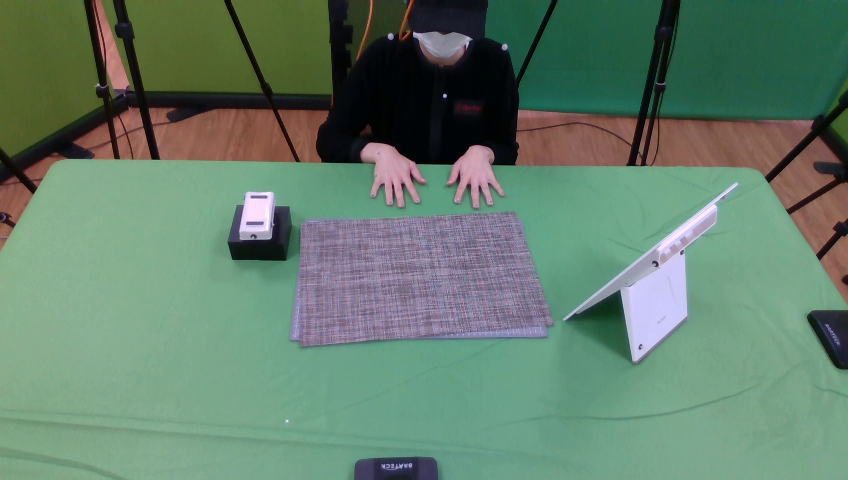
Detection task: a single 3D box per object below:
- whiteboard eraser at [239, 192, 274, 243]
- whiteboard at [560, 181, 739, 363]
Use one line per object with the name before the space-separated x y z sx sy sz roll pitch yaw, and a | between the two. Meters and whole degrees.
whiteboard eraser | -0.312 -0.043 1.131 0.055 0.042 0.112 -3 46 -5
whiteboard | 0.406 0.076 1.001 0.217 0.306 0.143 -29 74 -29
